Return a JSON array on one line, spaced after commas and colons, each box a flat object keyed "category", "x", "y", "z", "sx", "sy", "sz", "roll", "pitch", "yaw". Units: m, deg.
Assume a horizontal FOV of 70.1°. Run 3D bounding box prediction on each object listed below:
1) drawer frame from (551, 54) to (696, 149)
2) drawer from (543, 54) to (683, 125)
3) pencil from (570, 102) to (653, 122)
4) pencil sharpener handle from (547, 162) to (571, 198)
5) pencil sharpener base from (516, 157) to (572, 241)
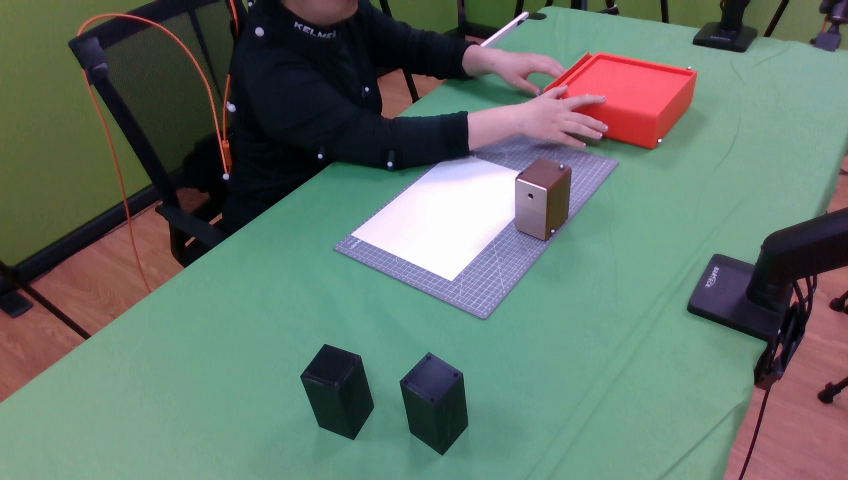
[{"category": "drawer frame", "x": 0.391, "y": -0.280, "z": 1.194, "sx": 0.212, "sy": 0.083, "sz": 0.202, "roll": 23, "pitch": 48, "yaw": 30}, {"category": "drawer", "x": 0.374, "y": -0.285, "z": 1.205, "sx": 0.210, "sy": 0.073, "sz": 0.195, "roll": 23, "pitch": 48, "yaw": 31}, {"category": "pencil", "x": 0.381, "y": -0.260, "z": 1.220, "sx": 0.195, "sy": 0.012, "sz": 0.012, "roll": -14, "pitch": 40, "yaw": -16}, {"category": "pencil sharpener handle", "x": 0.221, "y": -0.101, "z": 0.967, "sx": 0.035, "sy": 0.068, "sz": 0.031, "roll": 18, "pitch": 46, "yaw": 38}, {"category": "pencil sharpener base", "x": 0.189, "y": -0.065, "z": 0.948, "sx": 0.061, "sy": 0.107, "sz": 0.077, "roll": 24, "pitch": 49, "yaw": 33}]
